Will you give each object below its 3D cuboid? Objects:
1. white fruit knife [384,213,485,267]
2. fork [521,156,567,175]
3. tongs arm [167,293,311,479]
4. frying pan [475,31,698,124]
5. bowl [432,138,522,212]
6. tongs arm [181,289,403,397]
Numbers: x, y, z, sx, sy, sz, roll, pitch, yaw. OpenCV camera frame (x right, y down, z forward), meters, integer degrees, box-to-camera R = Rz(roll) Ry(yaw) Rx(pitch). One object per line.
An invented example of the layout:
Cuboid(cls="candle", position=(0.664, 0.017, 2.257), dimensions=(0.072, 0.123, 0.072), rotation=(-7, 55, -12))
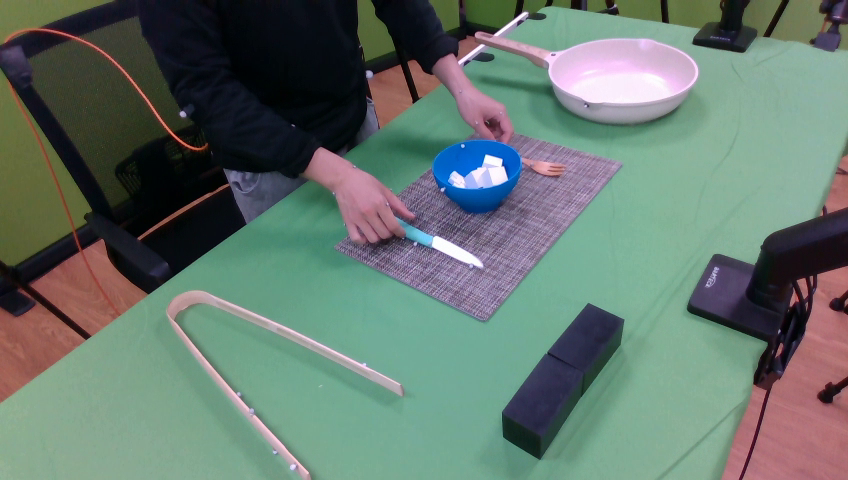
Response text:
Cuboid(cls="white fruit knife", position=(0.012, 0.001, 0.963), dimensions=(0.206, 0.016, 0.027), rotation=(25, 57, 32))
Cuboid(cls="fork", position=(0.166, -0.151, 1.116), dimensions=(0.206, 0.019, 0.028), rotation=(20, 72, 28))
Cuboid(cls="tongs arm", position=(-0.245, 0.176, 0.787), dimensions=(0.381, 0.026, 0.051), rotation=(29, 51, 36))
Cuboid(cls="frying pan", position=(0.320, -0.371, 1.290), dimensions=(0.485, 0.103, 0.307), rotation=(28, 50, 23))
Cuboid(cls="bowl", position=(0.091, -0.100, 1.021), dimensions=(0.151, 0.077, 0.150), rotation=(-4, 41, 4))
Cuboid(cls="tongs arm", position=(-0.192, 0.135, 0.834), dimensions=(0.385, 0.028, 0.028), rotation=(18, 49, 26))
